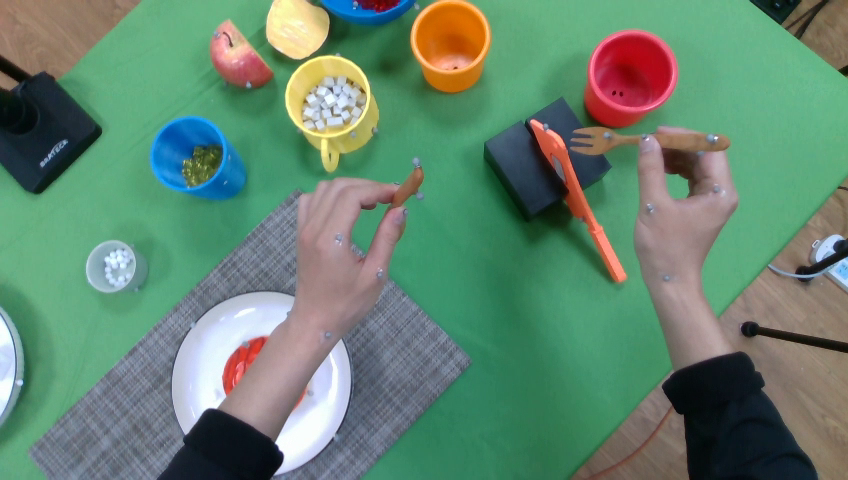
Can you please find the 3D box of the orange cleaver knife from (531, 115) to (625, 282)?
[{"bbox_3d":[0.174,-0.046,0.686,0.012,0.076,0.213,-30,111,1],"label":"orange cleaver knife"}]

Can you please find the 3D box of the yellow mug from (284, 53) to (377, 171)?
[{"bbox_3d":[-0.111,-0.148,0.726,0.100,0.064,0.130,2,83,3],"label":"yellow mug"}]

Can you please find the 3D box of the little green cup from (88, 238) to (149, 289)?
[{"bbox_3d":[-0.365,0.031,0.730,0.061,0.039,0.061,-1,81,4],"label":"little green cup"}]

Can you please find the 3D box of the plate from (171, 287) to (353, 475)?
[{"bbox_3d":[-0.182,0.159,0.696,0.209,0.038,0.208,0,82,4],"label":"plate"}]

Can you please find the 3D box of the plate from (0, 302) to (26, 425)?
[{"bbox_3d":[-0.572,0.155,0.725,0.207,0.039,0.207,-1,82,4],"label":"plate"}]

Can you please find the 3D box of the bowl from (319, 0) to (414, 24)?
[{"bbox_3d":[-0.065,-0.326,0.743,0.151,0.077,0.151,0,83,3],"label":"bowl"}]

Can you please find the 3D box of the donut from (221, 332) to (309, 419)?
[{"bbox_3d":[-0.179,0.153,0.686,0.099,0.048,0.099,-1,84,5],"label":"donut"}]

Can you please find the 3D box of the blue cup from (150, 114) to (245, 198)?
[{"bbox_3d":[-0.255,-0.089,0.709,0.092,0.100,0.092,0,82,2],"label":"blue cup"}]

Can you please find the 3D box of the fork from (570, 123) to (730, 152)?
[{"bbox_3d":[0.184,-0.089,0.526,0.019,0.206,0.028,12,97,-17],"label":"fork"}]

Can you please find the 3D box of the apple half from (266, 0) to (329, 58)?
[{"bbox_3d":[-0.159,-0.267,0.763,0.081,0.032,0.081,0,97,-1],"label":"apple half"}]

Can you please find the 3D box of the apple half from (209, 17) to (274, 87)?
[{"bbox_3d":[-0.228,-0.221,0.740,0.053,0.075,0.080,-40,85,1],"label":"apple half"}]

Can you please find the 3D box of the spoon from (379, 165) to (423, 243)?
[{"bbox_3d":[-0.022,-0.029,0.505,0.022,0.194,0.041,-1,81,-7],"label":"spoon"}]
